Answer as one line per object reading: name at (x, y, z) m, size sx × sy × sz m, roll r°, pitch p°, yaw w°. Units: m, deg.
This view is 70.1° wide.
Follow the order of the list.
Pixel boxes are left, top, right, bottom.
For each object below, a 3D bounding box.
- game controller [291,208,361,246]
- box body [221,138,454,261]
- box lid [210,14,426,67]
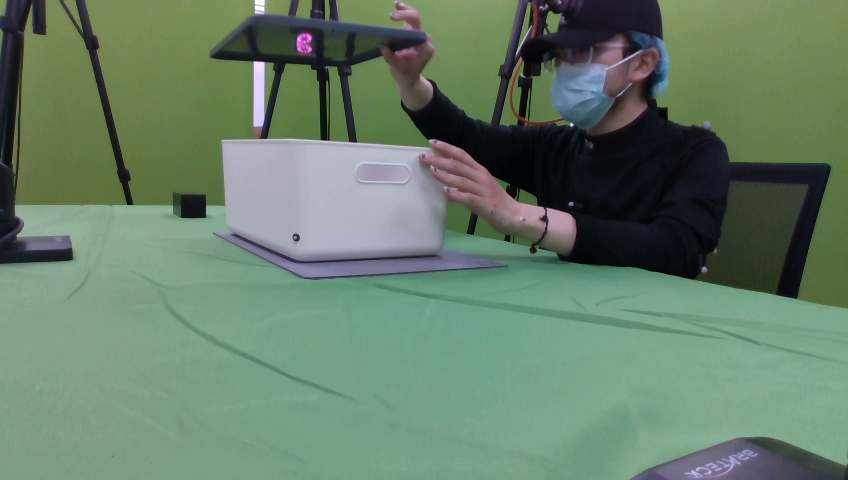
game controller at (-0.161, -0.023, 0.967) m, size 0.097 × 0.051 × 0.154 m, roll -4°, pitch 8°, yaw -15°
box body at (-0.152, -0.074, 0.963) m, size 0.255 × 0.160 × 0.362 m, roll -3°, pitch 9°, yaw -33°
box lid at (-0.186, -0.312, 0.976) m, size 0.264 × 0.015 × 0.369 m, roll -5°, pitch 10°, yaw -27°
